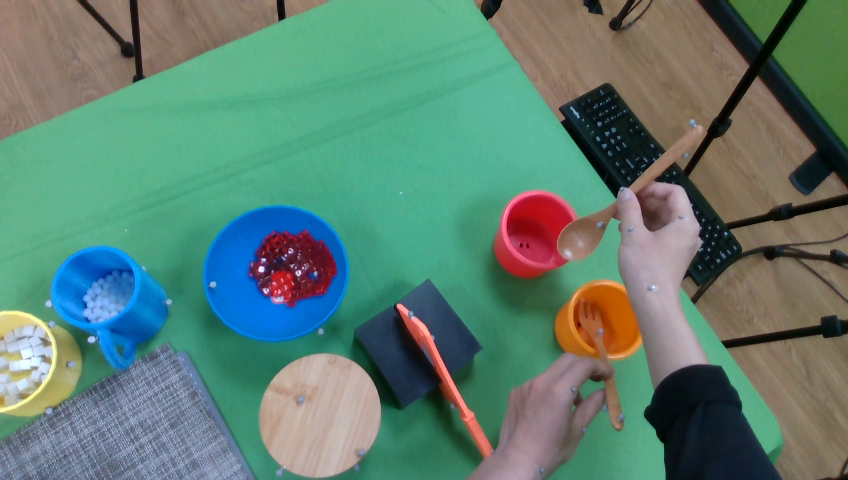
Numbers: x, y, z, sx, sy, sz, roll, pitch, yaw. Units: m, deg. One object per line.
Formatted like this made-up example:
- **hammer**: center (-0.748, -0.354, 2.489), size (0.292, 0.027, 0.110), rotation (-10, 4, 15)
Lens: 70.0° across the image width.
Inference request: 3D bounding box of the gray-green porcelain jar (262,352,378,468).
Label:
- **gray-green porcelain jar**: center (-0.104, 0.175, 0.617), size (0.106, 0.127, 0.105), rotation (3, 72, -7)

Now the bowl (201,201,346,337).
- **bowl**: center (-0.163, 0.040, 0.677), size (0.152, 0.077, 0.150), rotation (3, 72, -8)

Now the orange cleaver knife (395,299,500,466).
- **orange cleaver knife**: center (0.025, 0.157, 0.665), size (0.012, 0.077, 0.212), rotation (-32, 106, -14)

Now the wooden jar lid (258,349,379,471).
- **wooden jar lid**: center (-0.097, 0.155, 0.558), size (0.109, 0.021, 0.107), rotation (4, 73, -11)

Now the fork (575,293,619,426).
- **fork**: center (0.190, 0.122, 0.664), size (0.028, 0.019, 0.206), rotation (17, 29, -4)

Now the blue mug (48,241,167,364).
- **blue mug**: center (-0.322, 0.071, 0.629), size (0.082, 0.106, 0.116), rotation (-10, 74, -11)

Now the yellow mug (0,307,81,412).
- **yellow mug**: center (-0.426, 0.135, 0.613), size (0.100, 0.064, 0.130), rotation (36, 72, 5)

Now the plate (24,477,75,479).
- **plate**: center (-0.366, 0.332, 0.570), size (0.209, 0.038, 0.208), rotation (3, 72, -8)

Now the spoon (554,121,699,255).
- **spoon**: center (0.207, -0.050, 0.630), size (0.041, 0.194, 0.022), rotation (51, 37, 12)
